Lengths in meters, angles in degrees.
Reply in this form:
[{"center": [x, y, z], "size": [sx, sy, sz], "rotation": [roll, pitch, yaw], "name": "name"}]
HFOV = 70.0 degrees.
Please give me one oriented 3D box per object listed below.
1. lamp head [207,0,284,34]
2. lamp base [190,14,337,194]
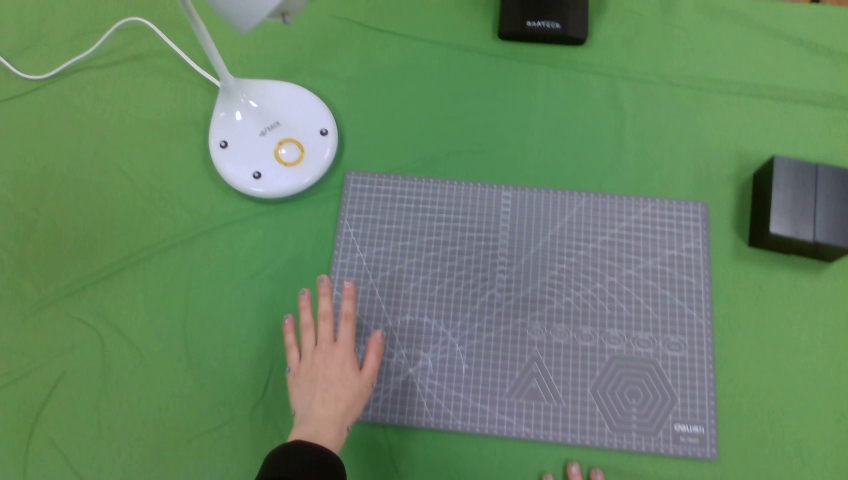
[{"center": [-0.140, -0.226, 0.421], "size": [0.124, 0.111, 0.112], "rotation": [38, 72, -28], "name": "lamp head"}, {"center": [-0.202, -0.164, 0.696], "size": [0.178, 0.181, 0.160], "rotation": [38, 76, 15], "name": "lamp base"}]
